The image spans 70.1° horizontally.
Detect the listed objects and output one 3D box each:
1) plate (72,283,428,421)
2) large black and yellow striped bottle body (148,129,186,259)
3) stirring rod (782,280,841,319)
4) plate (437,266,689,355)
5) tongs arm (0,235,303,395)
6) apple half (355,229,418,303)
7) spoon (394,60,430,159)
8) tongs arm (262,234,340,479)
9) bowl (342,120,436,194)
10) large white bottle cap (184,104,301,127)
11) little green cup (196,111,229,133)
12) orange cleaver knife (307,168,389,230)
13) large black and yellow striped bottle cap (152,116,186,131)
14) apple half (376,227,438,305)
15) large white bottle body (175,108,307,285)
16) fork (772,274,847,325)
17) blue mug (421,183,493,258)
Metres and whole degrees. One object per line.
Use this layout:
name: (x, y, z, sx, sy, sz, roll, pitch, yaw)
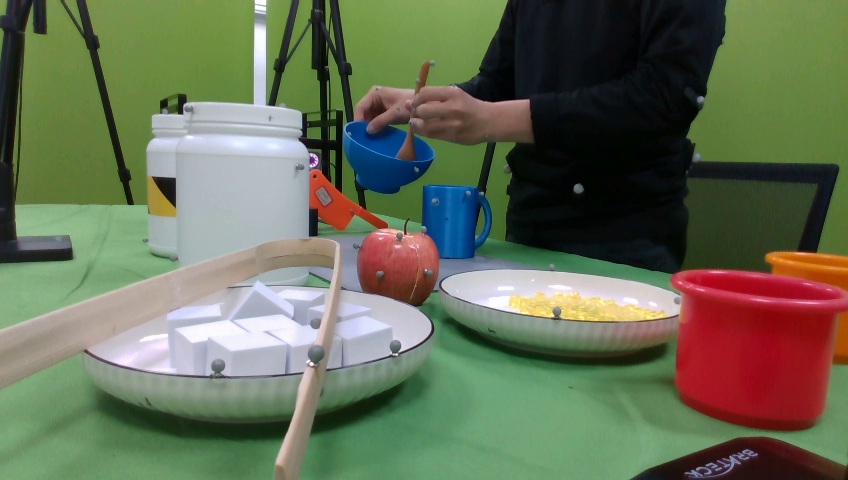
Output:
plate: (-0.102, 0.066, 0.381, 0.208, 0.039, 0.207, 3, 7, 0)
large black and yellow striped bottle body: (-0.310, -0.073, 0.838, 0.131, 0.184, 0.130, 2, 8, 0)
stirring rod: (0.344, 0.019, 0.461, 0.014, 0.006, 0.176, -13, -27, -30)
plate: (0.114, 0.057, 0.517, 0.209, 0.038, 0.209, 3, 7, 0)
tongs arm: (-0.157, 0.038, 0.351, 0.028, 0.028, 0.388, -3, 9, 12)
apple half: (-0.043, 0.027, 0.564, 0.081, 0.081, 0.033, 9, 5, 42)
spoon: (-0.018, -0.174, 0.898, 0.042, 0.193, 0.021, 5, 33, -12)
tongs arm: (-0.074, 0.039, 0.349, 0.051, 0.026, 0.384, -2, 10, -3)
bowl: (-0.064, -0.126, 0.966, 0.152, 0.077, 0.151, 15, 28, -8)
large white bottle cap: (-0.184, -0.126, 0.618, 0.115, 0.018, 0.115, 2, 8, 0)
little green cup: (-0.403, -0.225, 1.154, 0.061, 0.038, 0.061, 3, 8, 0)
orange cleaver knife: (-0.158, -0.060, 1.166, 0.212, 0.077, 0.012, 34, -12, -32)
large black and yellow striped bottle cap: (-0.309, -0.155, 0.826, 0.115, 0.019, 0.115, 3, 6, 0)
apple half: (-0.017, 0.026, 0.593, 0.080, 0.074, 0.053, 4, 2, 43)
large white bottle body: (-0.188, -0.042, 0.630, 0.131, 0.184, 0.130, 2, 8, 0)
fork: (0.332, 0.018, 0.443, 0.028, 0.018, 0.207, -1, -36, -15)
blue mug: (0.052, -0.032, 0.912, 0.117, 0.106, 0.082, -1, 8, -24)
